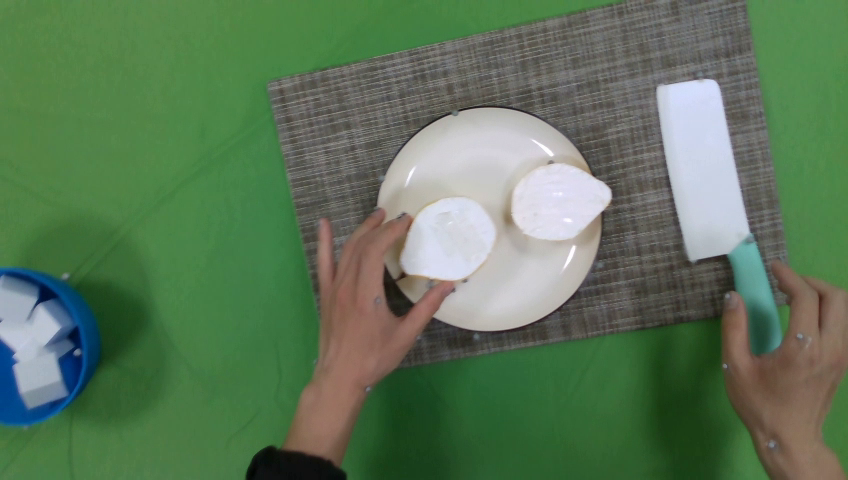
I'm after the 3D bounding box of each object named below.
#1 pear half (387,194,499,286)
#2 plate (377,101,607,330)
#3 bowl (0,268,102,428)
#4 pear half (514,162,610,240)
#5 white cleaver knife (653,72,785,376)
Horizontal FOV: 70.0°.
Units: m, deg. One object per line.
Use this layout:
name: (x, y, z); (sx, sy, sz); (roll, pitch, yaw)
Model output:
pear half: (0.011, 0.007, 0.549); (0.110, 0.056, 0.076); (-33, 90, -3)
plate: (0.062, -0.021, 0.564); (0.207, 0.039, 0.208); (0, 95, 5)
bowl: (-0.375, 0.098, 0.592); (0.151, 0.077, 0.151); (0, 95, 5)
pear half: (0.126, -0.036, 0.552); (0.087, 0.031, 0.070); (-5, 93, 23)
white cleaver knife: (0.271, -0.014, 0.561); (0.066, 0.021, 0.286); (-14, 90, 15)
